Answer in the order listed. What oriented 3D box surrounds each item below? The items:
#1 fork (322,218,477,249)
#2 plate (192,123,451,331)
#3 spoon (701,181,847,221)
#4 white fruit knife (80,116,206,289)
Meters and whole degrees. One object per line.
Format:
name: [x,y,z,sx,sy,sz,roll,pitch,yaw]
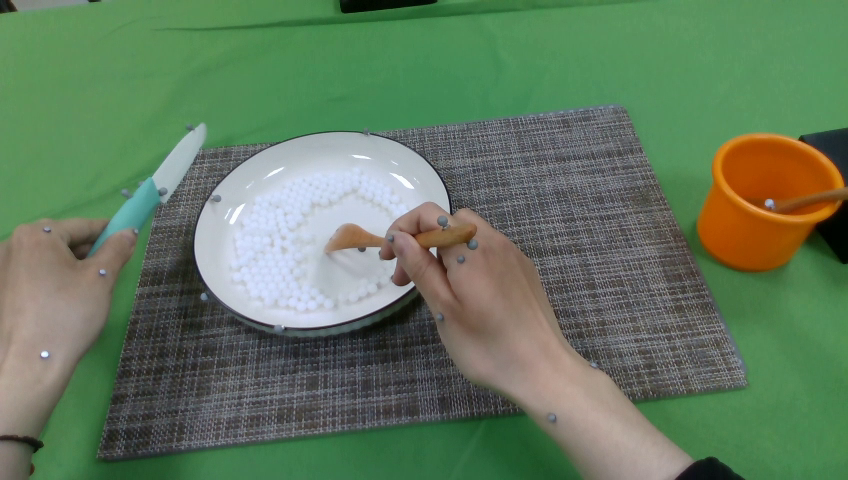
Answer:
fork: [-0.027,-0.004,0.412,0.206,0.019,0.028,1,52,56]
plate: [-0.080,-0.013,0.499,0.209,0.038,0.207,-2,52,2]
spoon: [0.285,-0.032,0.428,0.041,0.193,0.022,-36,103,-25]
white fruit knife: [-0.227,-0.044,0.506,0.016,0.028,0.205,-16,39,25]
